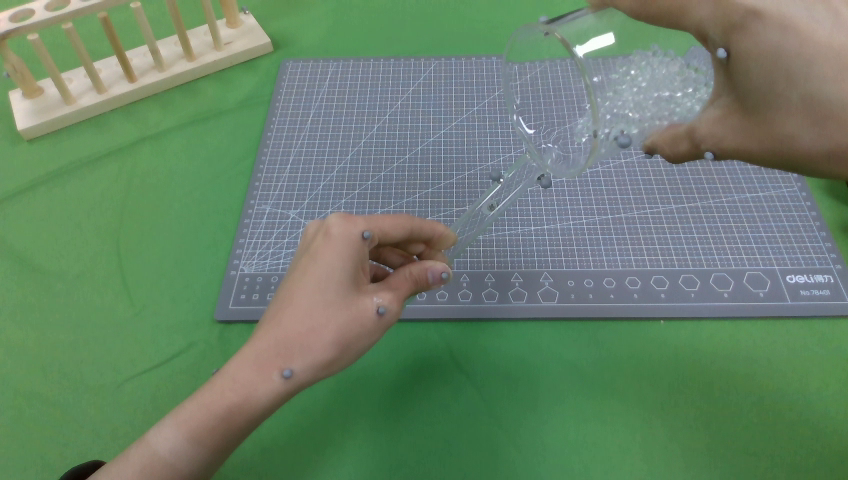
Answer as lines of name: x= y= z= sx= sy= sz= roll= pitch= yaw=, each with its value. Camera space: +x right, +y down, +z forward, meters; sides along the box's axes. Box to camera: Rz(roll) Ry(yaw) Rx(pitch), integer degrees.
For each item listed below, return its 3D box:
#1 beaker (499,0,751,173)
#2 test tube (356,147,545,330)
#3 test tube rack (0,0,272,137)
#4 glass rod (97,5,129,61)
beaker: x=0.099 y=-0.084 z=0.299 sx=0.100 sy=0.084 sz=0.073 roll=-24 pitch=59 yaw=-15
test tube: x=0.010 y=0.004 z=0.347 sx=0.150 sy=0.017 sz=0.017 roll=-45 pitch=51 yaw=23
test tube rack: x=-0.277 y=-0.191 z=0.566 sx=0.242 sy=0.086 sz=0.066 roll=-26 pitch=56 yaw=-16
glass rod: x=-0.290 y=-0.231 z=0.513 sx=0.008 sy=0.201 sz=0.008 roll=1 pitch=55 yaw=-1
